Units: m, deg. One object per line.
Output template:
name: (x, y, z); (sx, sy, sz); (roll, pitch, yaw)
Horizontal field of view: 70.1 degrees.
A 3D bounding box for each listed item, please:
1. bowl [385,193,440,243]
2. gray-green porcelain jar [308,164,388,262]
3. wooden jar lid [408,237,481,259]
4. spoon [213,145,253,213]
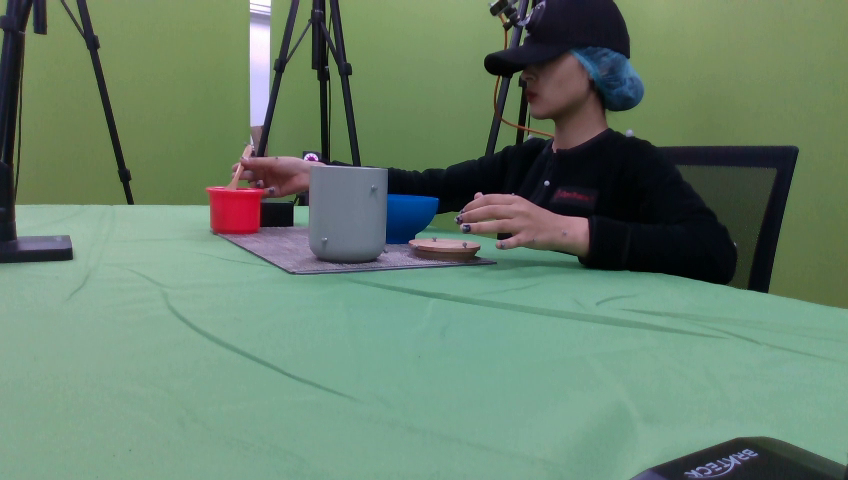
bowl: (-0.050, -0.038, 1.033); (0.151, 0.077, 0.151); (3, 7, 0)
gray-green porcelain jar: (-0.103, -0.038, 0.818); (0.106, 0.126, 0.106); (2, 7, 0)
wooden jar lid: (0.031, 0.012, 0.895); (0.108, 0.020, 0.108); (2, 8, 0)
spoon: (-0.338, -0.115, 1.097); (0.042, 0.021, 0.193); (21, 46, -15)
